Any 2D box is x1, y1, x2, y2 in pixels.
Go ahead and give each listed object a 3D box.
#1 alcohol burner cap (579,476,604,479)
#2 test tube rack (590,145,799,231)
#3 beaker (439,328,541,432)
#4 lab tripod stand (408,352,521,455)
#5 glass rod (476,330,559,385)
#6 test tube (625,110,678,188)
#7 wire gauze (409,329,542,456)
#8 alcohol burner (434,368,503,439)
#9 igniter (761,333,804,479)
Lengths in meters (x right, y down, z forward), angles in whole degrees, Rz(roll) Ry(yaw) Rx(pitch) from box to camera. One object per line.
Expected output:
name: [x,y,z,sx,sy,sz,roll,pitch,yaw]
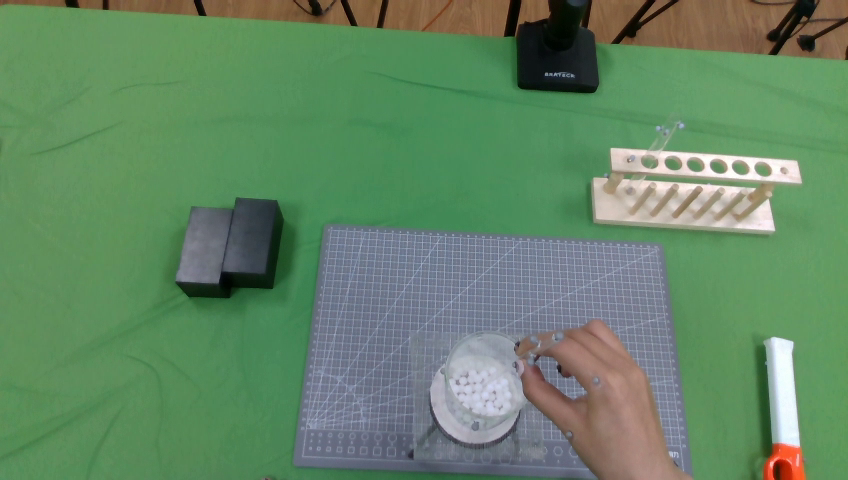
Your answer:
alcohol burner cap: [0.184,0.274,0.660,0.034,0.048,0.033,1,64,-2]
test tube rack: [0.352,-0.067,0.798,0.242,0.086,0.066,3,65,-1]
beaker: [0.053,0.128,0.538,0.084,0.101,0.073,-1,65,-4]
lab tripod stand: [0.045,0.175,0.642,0.148,0.132,0.147,1,64,-1]
glass rod: [0.069,0.099,0.489,0.008,0.200,0.008,4,67,-9]
test tube: [0.282,-0.110,0.760,0.017,0.151,0.017,1,62,-1]
wire gauze: [0.048,0.145,0.583,0.125,0.011,0.120,0,63,-1]
alcohol burner: [0.050,0.173,0.654,0.078,0.120,0.077,2,64,-4]
igniter: [0.413,0.242,0.694,0.057,0.025,0.274,14,66,-8]
